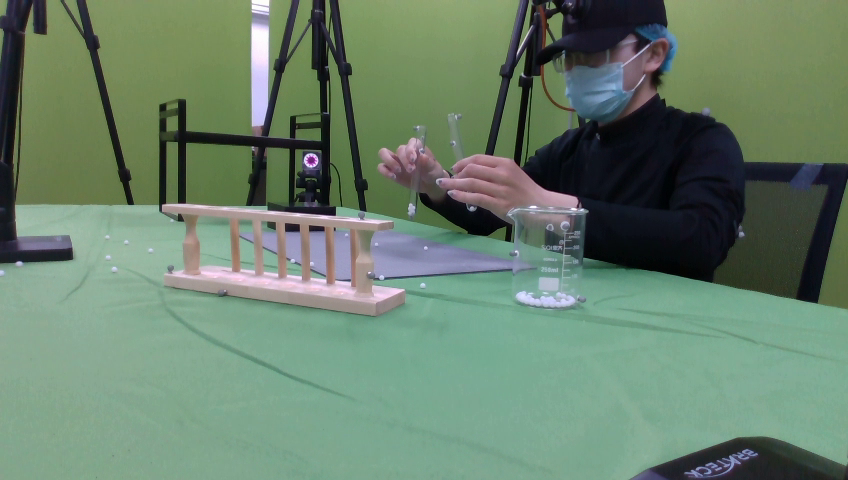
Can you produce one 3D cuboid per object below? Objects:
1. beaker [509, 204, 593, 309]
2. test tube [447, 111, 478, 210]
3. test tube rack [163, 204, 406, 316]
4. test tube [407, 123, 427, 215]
[{"bbox_3d":[0.126,0.015,0.613,0.084,0.100,0.074,1,7,-5],"label":"beaker"},{"bbox_3d":[0.056,-0.116,0.880,0.017,0.150,0.017,-12,-7,-1],"label":"test tube"},{"bbox_3d":[-0.141,0.013,0.601,0.241,0.085,0.067,5,8,21],"label":"test tube rack"},{"bbox_3d":[-0.011,-0.113,0.977,0.017,0.150,0.017,7,17,-2],"label":"test tube"}]
